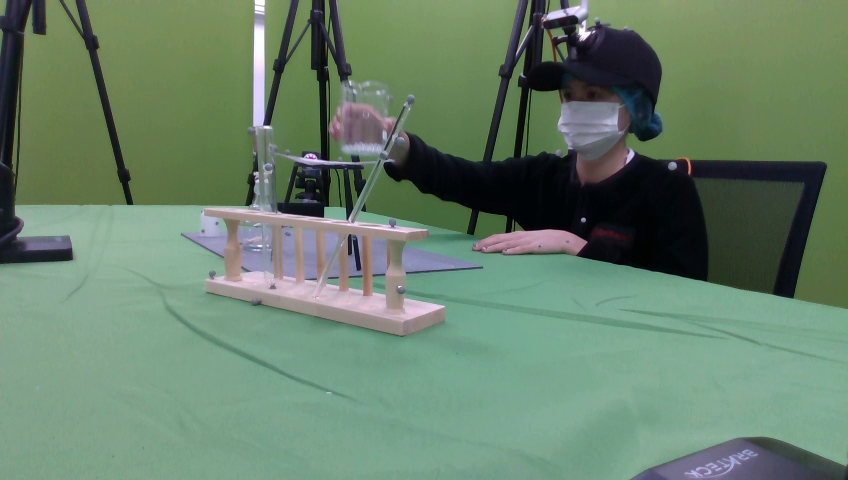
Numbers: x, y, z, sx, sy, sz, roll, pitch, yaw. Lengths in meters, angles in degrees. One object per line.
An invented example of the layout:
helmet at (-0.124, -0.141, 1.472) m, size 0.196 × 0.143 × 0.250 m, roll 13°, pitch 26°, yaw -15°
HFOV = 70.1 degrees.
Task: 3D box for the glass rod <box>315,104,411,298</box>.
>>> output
glass rod at (-0.055, -0.026, 0.517) m, size 0.008 × 0.199 × 0.008 m, roll 23°, pitch 25°, yaw -11°

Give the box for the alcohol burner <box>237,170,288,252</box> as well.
alcohol burner at (-0.236, -0.042, 0.882) m, size 0.078 × 0.119 × 0.078 m, roll 2°, pitch 9°, yaw 0°

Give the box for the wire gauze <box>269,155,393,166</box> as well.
wire gauze at (-0.121, -0.102, 0.785) m, size 0.122 × 0.011 × 0.124 m, roll -3°, pitch 10°, yaw -39°

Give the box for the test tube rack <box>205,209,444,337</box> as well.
test tube rack at (-0.100, 0.021, 0.565) m, size 0.241 × 0.085 × 0.067 m, roll 7°, pitch 9°, yaw 32°

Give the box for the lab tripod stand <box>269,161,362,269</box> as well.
lab tripod stand at (-0.125, -0.036, 0.794) m, size 0.148 × 0.131 × 0.148 m, roll 5°, pitch 7°, yaw 0°

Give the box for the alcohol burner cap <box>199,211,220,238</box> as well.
alcohol burner cap at (-0.356, -0.027, 1.002) m, size 0.034 × 0.048 × 0.034 m, roll 2°, pitch 7°, yaw 0°

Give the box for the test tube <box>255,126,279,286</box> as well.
test tube at (-0.147, -0.031, 0.566) m, size 0.017 × 0.150 × 0.017 m, roll -1°, pitch 8°, yaw 0°

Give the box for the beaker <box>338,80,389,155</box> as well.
beaker at (-0.091, -0.178, 0.888) m, size 0.074 × 0.100 × 0.084 m, roll 2°, pitch 3°, yaw 1°
